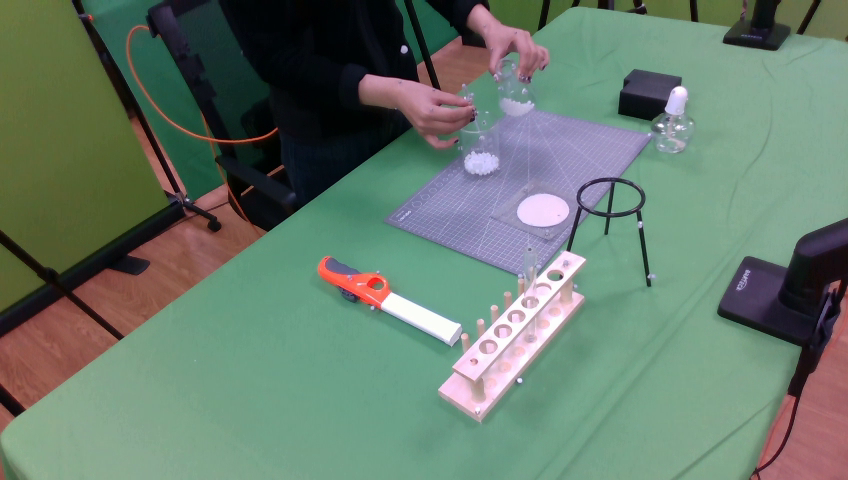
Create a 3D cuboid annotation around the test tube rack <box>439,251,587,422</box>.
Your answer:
[{"bbox_3d":[0.118,0.111,0.780,0.066,0.085,0.243,26,51,34],"label":"test tube rack"}]

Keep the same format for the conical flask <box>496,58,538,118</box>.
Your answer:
[{"bbox_3d":[0.163,-0.283,1.109,0.075,0.123,0.075,-7,68,19],"label":"conical flask"}]

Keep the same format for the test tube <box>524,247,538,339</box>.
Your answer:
[{"bbox_3d":[0.133,0.070,0.749,0.017,0.151,0.017,-5,38,4],"label":"test tube"}]

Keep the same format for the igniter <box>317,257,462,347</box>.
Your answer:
[{"bbox_3d":[-0.061,0.086,0.891,0.274,0.025,0.057,23,59,33],"label":"igniter"}]

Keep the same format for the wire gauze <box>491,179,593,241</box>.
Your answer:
[{"bbox_3d":[0.198,-0.051,1.014,0.125,0.011,0.120,-38,48,-27],"label":"wire gauze"}]

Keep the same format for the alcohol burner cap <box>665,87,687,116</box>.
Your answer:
[{"bbox_3d":[0.445,-0.244,1.060,0.034,0.048,0.033,-2,45,3],"label":"alcohol burner cap"}]

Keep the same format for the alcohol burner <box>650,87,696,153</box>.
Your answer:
[{"bbox_3d":[0.448,-0.217,1.084,0.078,0.119,0.077,-6,38,5],"label":"alcohol burner"}]

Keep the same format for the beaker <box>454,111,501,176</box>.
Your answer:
[{"bbox_3d":[0.101,-0.174,1.106,0.084,0.101,0.073,-5,40,6],"label":"beaker"}]

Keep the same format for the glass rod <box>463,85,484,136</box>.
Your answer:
[{"bbox_3d":[0.087,-0.218,1.035,0.008,0.201,0.008,-3,77,13],"label":"glass rod"}]

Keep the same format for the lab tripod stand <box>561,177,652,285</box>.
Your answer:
[{"bbox_3d":[0.263,-0.014,0.864,0.148,0.132,0.147,-7,38,6],"label":"lab tripod stand"}]
